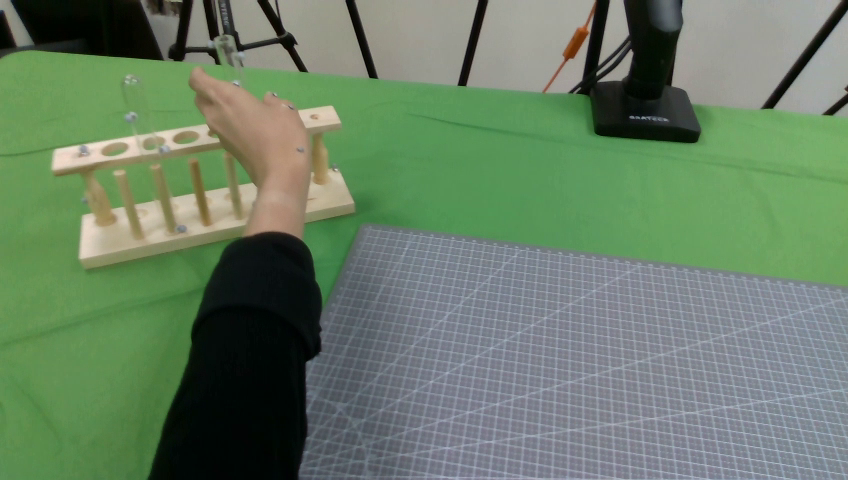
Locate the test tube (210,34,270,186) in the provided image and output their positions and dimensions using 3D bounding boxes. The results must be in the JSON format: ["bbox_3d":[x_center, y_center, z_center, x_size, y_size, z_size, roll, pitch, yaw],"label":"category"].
[{"bbox_3d":[-0.163,-0.111,0.547,0.017,0.151,0.017,-3,41,3],"label":"test tube"}]

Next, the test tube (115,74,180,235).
[{"bbox_3d":[-0.227,-0.066,0.503,0.017,0.152,0.017,1,39,-1],"label":"test tube"}]

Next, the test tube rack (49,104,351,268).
[{"bbox_3d":[-0.195,-0.053,0.557,0.243,0.086,0.066,-13,43,-17],"label":"test tube rack"}]
